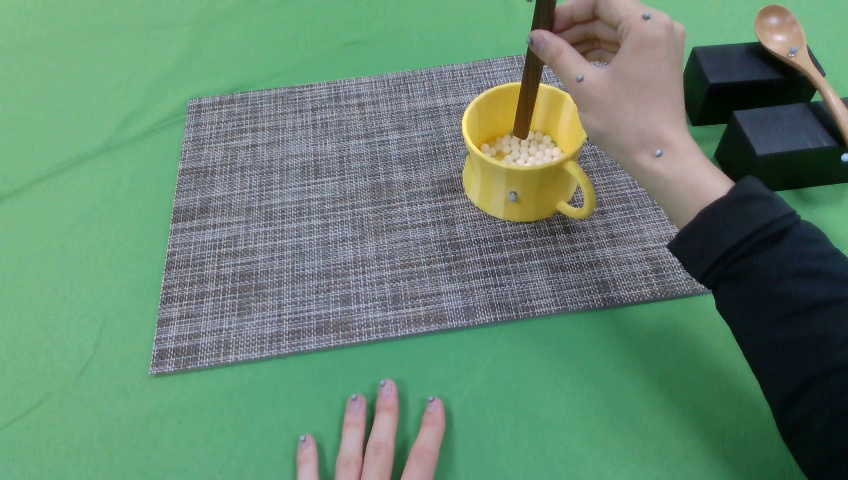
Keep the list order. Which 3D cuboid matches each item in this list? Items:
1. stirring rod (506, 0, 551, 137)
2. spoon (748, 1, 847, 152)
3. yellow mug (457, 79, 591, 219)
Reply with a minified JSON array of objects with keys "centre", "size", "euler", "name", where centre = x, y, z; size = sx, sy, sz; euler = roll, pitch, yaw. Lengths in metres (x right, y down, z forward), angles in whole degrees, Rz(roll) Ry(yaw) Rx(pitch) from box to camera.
[{"centre":[0.076,-0.137,0.430],"size":[0.014,0.177,0.006],"euler":[25,60,15],"name":"stirring rod"},{"centre":[0.318,-0.128,0.495],"size":[0.041,0.022,0.192],"euler":[-8,57,-3],"name":"spoon"},{"centre":[0.087,-0.067,0.496],"size":[0.100,0.064,0.129],"euler":[-35,61,-19],"name":"yellow mug"}]
